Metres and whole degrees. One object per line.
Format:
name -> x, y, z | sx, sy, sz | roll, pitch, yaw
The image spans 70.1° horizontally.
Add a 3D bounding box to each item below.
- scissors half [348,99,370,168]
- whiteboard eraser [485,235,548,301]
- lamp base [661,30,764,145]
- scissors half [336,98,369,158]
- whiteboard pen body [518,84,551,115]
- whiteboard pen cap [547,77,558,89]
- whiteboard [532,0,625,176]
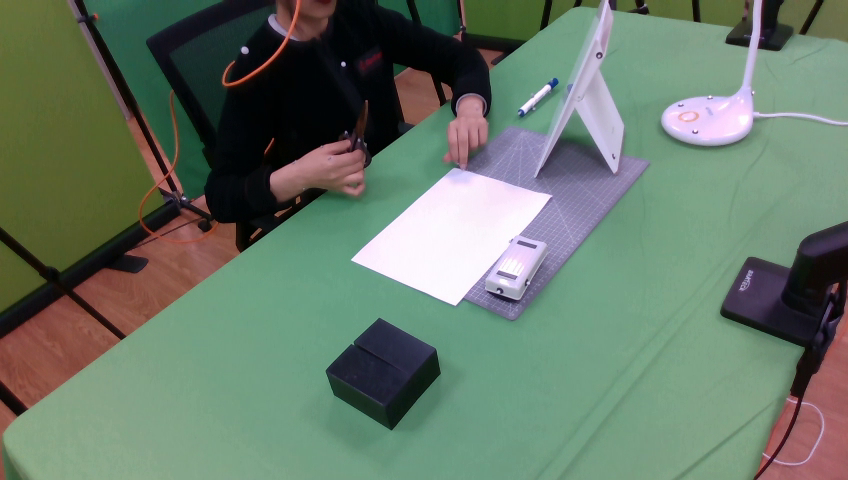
scissors half -> -0.105, -0.178, 1.027 | 0.040, 0.175, 0.013 | 34, 59, 10
whiteboard eraser -> 0.137, 0.042, 0.887 | 0.055, 0.042, 0.113 | 15, 46, 27
lamp base -> 0.535, -0.287, 1.096 | 0.179, 0.181, 0.159 | -10, 40, -4
scissors half -> -0.119, -0.191, 1.028 | 0.040, 0.174, 0.013 | 47, 59, -1
whiteboard pen body -> 0.242, -0.306, 1.290 | 0.017, 0.017, 0.141 | 24, 52, 33
whiteboard pen cap -> 0.279, -0.341, 1.321 | 0.018, 0.018, 0.033 | 21, 51, 31
whiteboard -> 0.320, -0.259, 1.050 | 0.144, 0.306, 0.217 | 21, 45, 5
